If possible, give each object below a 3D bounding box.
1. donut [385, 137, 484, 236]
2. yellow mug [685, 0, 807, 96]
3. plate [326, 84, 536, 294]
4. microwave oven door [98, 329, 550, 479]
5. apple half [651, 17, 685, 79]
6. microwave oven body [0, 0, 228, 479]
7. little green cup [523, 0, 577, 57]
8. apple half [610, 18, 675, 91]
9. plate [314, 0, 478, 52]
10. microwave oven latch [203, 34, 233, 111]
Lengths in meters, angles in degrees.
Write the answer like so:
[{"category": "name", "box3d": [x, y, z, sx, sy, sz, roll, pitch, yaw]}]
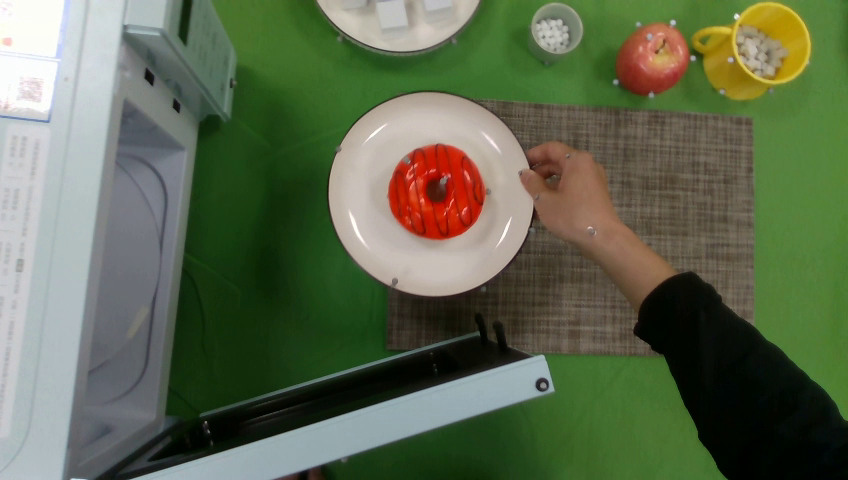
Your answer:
[{"category": "donut", "box3d": [0.010, -0.052, 0.600, 0.099, 0.048, 0.099, 0, 91, -5]}, {"category": "yellow mug", "box3d": [0.383, -0.238, 0.736, 0.131, 0.064, 0.099, 13, 84, -5]}, {"category": "plate", "box3d": [0.007, -0.050, 0.610, 0.209, 0.038, 0.209, 0, 89, -6]}, {"category": "microwave oven door", "box3d": [-0.087, 0.153, 0.551, 0.356, 0.244, 0.039, -15, 87, -7]}, {"category": "apple half", "box3d": [0.285, -0.229, 0.720, 0.033, 0.081, 0.081, -25, 89, -3]}, {"category": "microwave oven body", "box3d": [-0.377, -0.027, 0.533, 0.327, 0.260, 0.441, 5, 86, -7]}, {"category": "little green cup", "box3d": [0.148, -0.250, 0.723, 0.061, 0.038, 0.061, 0, 86, -6]}, {"category": "apple half", "box3d": [0.249, -0.212, 0.716, 0.053, 0.074, 0.081, -24, 93, -3]}, {"category": "plate", "box3d": [-0.034, -0.317, 0.706, 0.208, 0.039, 0.207, 1, 86, -7]}, {"category": "microwave oven latch", "box3d": [-0.226, -0.182, 0.657, 0.030, 0.029, 0.079, 7, 86, -6]}]
